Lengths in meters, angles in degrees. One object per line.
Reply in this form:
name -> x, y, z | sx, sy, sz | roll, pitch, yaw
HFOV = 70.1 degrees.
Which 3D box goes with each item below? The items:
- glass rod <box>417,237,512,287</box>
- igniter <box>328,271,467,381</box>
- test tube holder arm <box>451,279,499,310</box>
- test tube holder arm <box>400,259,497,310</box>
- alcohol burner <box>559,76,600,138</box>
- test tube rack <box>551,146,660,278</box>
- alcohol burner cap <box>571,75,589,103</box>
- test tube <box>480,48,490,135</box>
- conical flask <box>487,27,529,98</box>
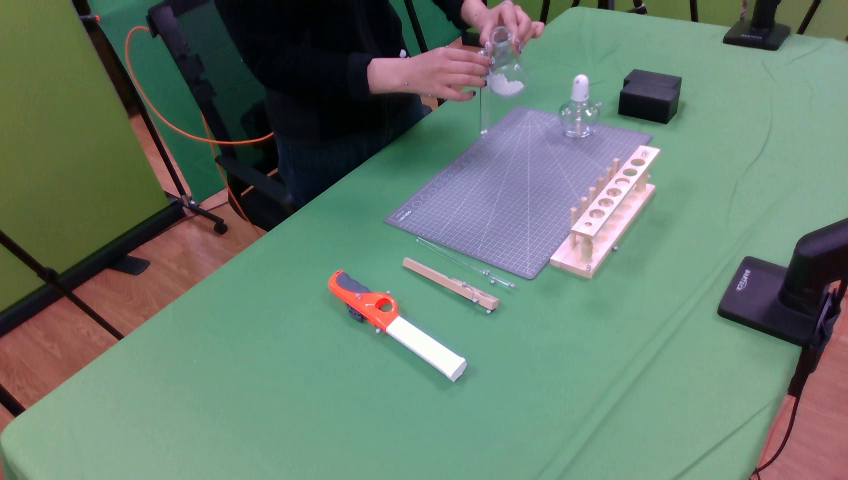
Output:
glass rod -> 0.058, 0.032, 0.945 | 0.198, 0.008, 0.008 | 26, 52, 38
igniter -> -0.049, 0.114, 0.854 | 0.274, 0.025, 0.057 | 29, 63, 37
test tube holder arm -> 0.071, 0.079, 0.882 | 0.087, 0.015, 0.010 | 23, 14, 34
test tube holder arm -> 0.033, 0.064, 0.902 | 0.177, 0.015, 0.013 | 23, 13, 32
alcohol burner -> 0.298, -0.258, 1.156 | 0.078, 0.119, 0.077 | -4, 39, 4
test tube rack -> 0.286, -0.053, 0.943 | 0.066, 0.085, 0.243 | 21, 49, 32
alcohol burner cap -> 0.294, -0.285, 1.132 | 0.034, 0.048, 0.033 | -4, 46, 5
test tube -> 0.103, -0.247, 1.022 | 0.017, 0.151, 0.017 | -2, 35, 2
conical flask -> 0.138, -0.306, 1.031 | 0.075, 0.122, 0.075 | -5, 66, 12
